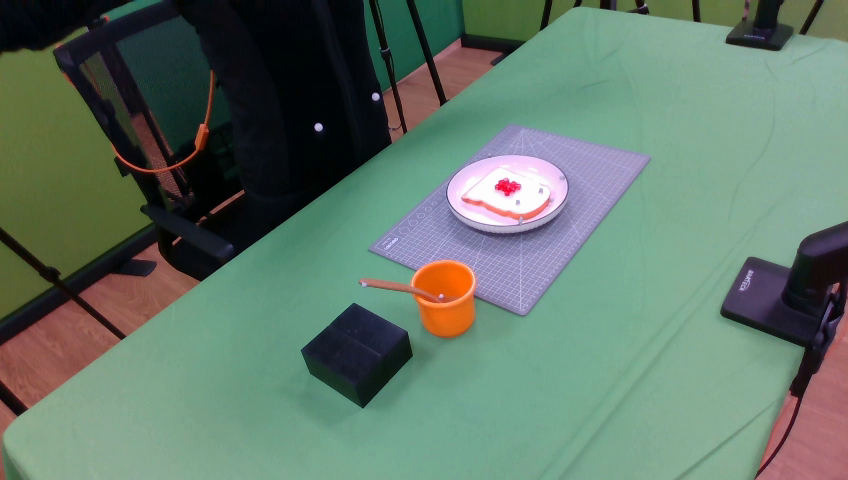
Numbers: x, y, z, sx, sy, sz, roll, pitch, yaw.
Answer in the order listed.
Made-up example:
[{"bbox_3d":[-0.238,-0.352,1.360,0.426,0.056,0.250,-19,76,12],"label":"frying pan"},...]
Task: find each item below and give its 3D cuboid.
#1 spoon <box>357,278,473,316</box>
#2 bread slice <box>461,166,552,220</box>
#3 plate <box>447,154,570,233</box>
[{"bbox_3d":[-0.008,0.072,0.804,0.021,0.195,0.041,-54,41,17],"label":"spoon"},{"bbox_3d":[0.149,-0.079,1.036,0.133,0.018,0.107,22,50,32],"label":"bread slice"},{"bbox_3d":[0.143,-0.076,1.032,0.209,0.038,0.208,-5,40,5],"label":"plate"}]
